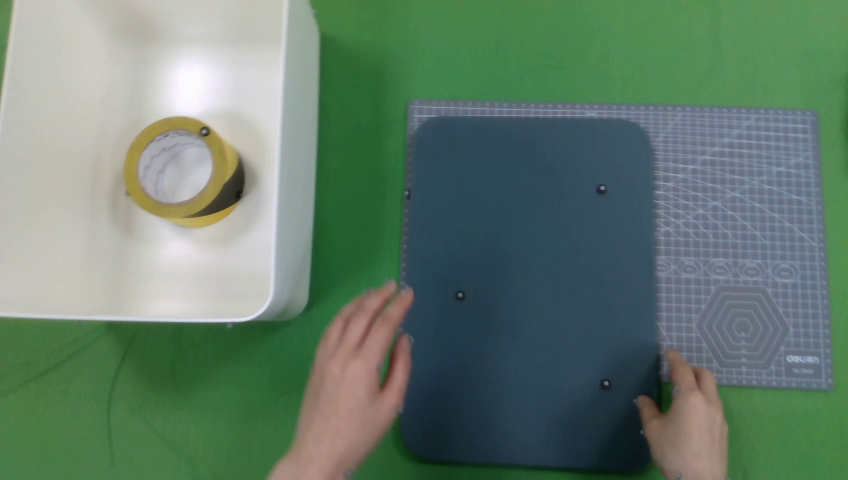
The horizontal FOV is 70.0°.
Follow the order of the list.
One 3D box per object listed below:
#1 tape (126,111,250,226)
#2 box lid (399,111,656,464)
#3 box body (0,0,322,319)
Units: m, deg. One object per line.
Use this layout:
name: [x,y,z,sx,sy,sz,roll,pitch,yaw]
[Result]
tape: [-0.251,-0.075,0.650,0.117,0.053,0.116,-1,79,5]
box lid: [0.111,0.040,0.643,0.263,0.015,0.370,2,82,2]
box body: [-0.242,-0.102,0.605,0.254,0.161,0.362,1,81,2]
